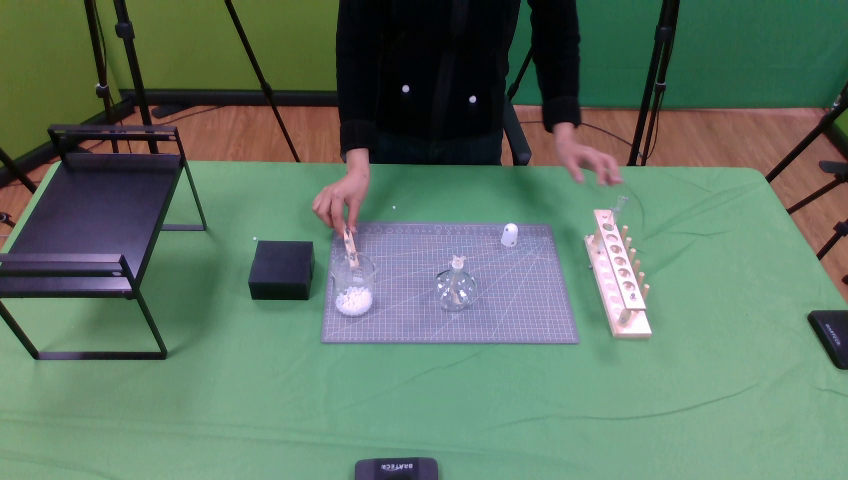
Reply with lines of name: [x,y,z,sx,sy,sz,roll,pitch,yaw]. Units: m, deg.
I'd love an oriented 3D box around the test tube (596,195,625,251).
test tube: [0.349,-0.028,1.141,0.017,0.151,0.017,1,51,-1]

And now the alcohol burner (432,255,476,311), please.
alcohol burner: [0.055,0.070,1.068,0.078,0.119,0.077,3,45,-3]

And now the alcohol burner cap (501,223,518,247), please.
alcohol burner cap: [0.172,-0.013,1.206,0.034,0.048,0.033,1,45,-1]

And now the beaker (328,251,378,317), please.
beaker: [-0.123,0.079,1.055,0.084,0.101,0.073,0,47,-5]

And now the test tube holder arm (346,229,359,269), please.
test tube holder arm: [-0.138,0.016,1.154,0.010,0.015,0.087,-6,54,-19]

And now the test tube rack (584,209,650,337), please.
test tube rack: [0.365,0.056,1.129,0.067,0.085,0.240,1,46,-4]

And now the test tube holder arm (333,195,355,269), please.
test tube holder arm: [-0.156,-0.019,1.177,0.013,0.015,0.177,-7,54,-19]
